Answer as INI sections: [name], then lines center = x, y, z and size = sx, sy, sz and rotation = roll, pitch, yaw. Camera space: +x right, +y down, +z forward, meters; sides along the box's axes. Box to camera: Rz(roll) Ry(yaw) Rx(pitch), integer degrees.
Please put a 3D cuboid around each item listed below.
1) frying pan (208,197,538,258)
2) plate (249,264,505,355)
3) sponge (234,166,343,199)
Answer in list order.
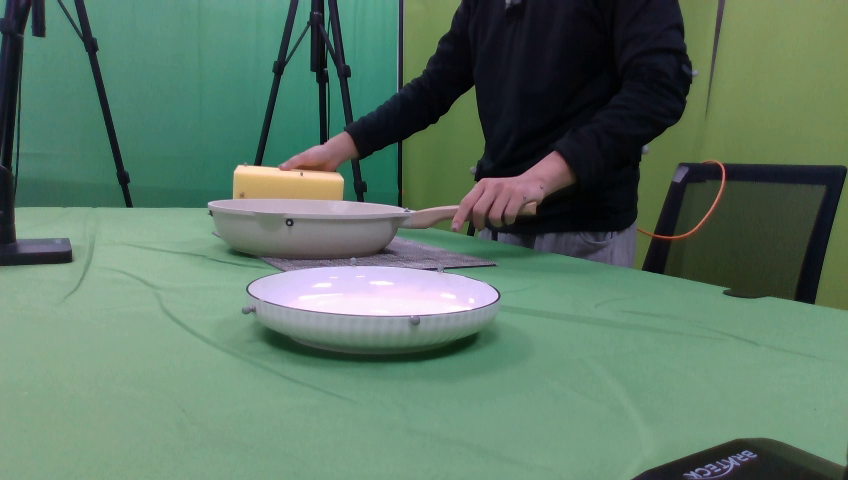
[frying pan]
center = -0.076, -0.034, 0.913
size = 0.487, 0.102, 0.307
rotation = -5, 7, 11
[plate]
center = -0.037, 0.056, 0.504
size = 0.208, 0.039, 0.207
rotation = 2, 7, 0
[sponge]
center = -0.272, -0.108, 1.221
size = 0.207, 0.061, 0.118
rotation = 2, 12, -15
